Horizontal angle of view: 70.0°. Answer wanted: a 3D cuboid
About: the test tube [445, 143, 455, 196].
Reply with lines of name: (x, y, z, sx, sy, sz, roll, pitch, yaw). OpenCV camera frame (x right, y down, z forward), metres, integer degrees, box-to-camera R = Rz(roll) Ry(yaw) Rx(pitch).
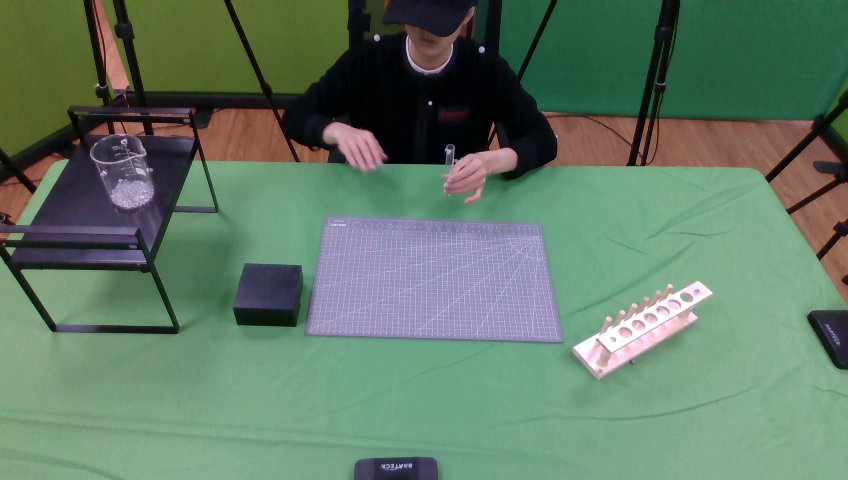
test tube: (0.050, -0.132, 1.164, 0.017, 0.151, 0.017, 0, 58, 0)

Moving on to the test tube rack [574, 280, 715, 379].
test tube rack: (0.378, 0.140, 1.038, 0.242, 0.085, 0.066, -22, 51, -23)

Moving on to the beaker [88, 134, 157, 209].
beaker: (-0.470, -0.106, 0.960, 0.084, 0.101, 0.073, 4, 46, 0)
